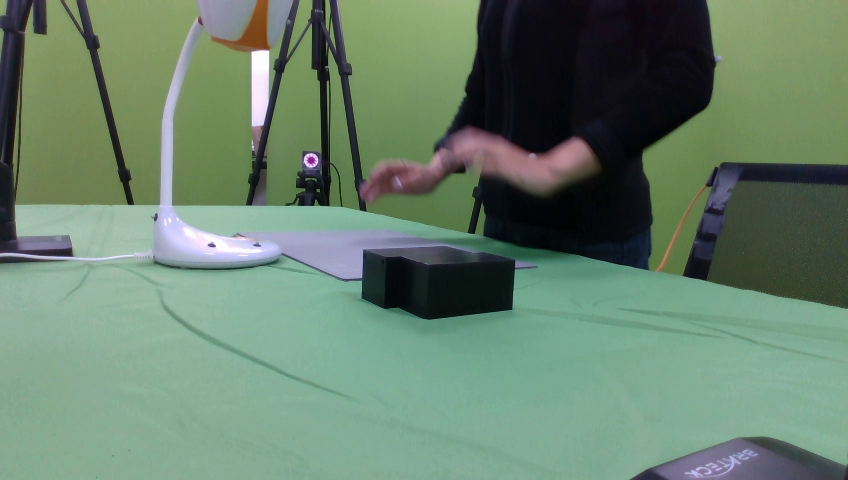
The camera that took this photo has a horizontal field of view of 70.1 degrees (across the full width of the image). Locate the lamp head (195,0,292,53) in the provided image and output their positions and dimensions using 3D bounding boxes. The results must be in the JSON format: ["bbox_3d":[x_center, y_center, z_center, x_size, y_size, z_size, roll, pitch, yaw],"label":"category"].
[{"bbox_3d":[-0.185,-0.254,0.611,0.112,0.123,0.112,10,20,-3],"label":"lamp head"}]

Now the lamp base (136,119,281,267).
[{"bbox_3d":[-0.275,-0.061,0.773,0.160,0.180,0.180,9,13,44],"label":"lamp base"}]

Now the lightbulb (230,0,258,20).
[{"bbox_3d":[-0.175,-0.276,0.604,0.059,0.107,0.059,10,11,-2],"label":"lightbulb"}]
